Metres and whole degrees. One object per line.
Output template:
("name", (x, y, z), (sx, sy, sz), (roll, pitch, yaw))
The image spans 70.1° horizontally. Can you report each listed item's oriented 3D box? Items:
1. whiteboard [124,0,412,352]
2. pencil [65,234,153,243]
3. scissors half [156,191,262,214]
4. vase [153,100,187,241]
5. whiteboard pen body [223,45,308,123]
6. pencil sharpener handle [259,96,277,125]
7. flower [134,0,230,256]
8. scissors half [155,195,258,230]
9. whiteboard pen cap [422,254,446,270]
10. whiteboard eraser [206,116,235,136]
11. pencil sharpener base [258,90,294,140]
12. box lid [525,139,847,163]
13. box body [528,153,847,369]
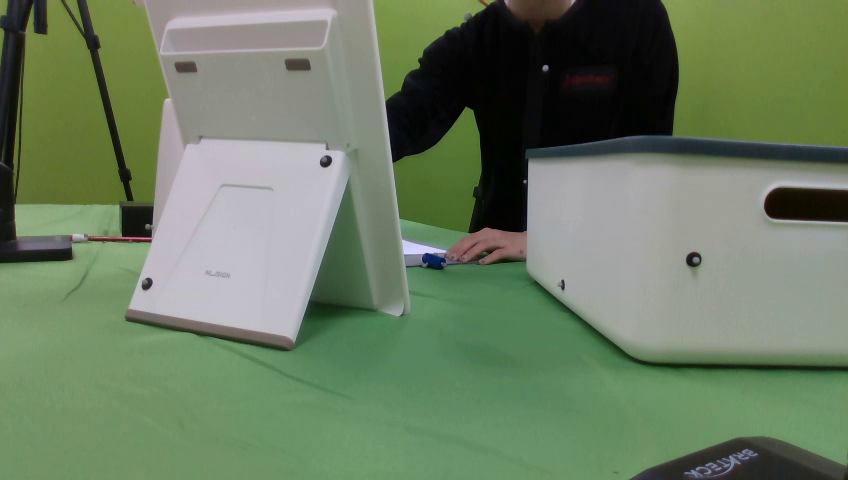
("whiteboard", (-0.151, -0.049, 0.472), (0.216, 0.305, 0.144), (6, 27, 24))
("pencil", (-0.429, 0.000, 0.910), (0.195, 0.012, 0.012), (2, 7, -19))
("scissors half", (-0.371, -0.068, 1.051), (0.176, 0.040, 0.013), (2, 25, -24))
("vase", (-0.278, -0.066, 0.736), (0.098, 0.200, 0.098), (2, 8, 0))
("whiteboard pen body", (-0.152, -0.151, 0.583), (0.017, 0.017, 0.141), (6, 44, 24))
("pencil sharpener handle", (-0.373, -0.304, 1.425), (0.036, 0.067, 0.030), (13, -1, -37))
("flower", (-0.282, -0.147, 0.713), (0.038, 0.362, 0.044), (-23, 24, -31))
("scissors half", (-0.378, -0.051, 1.058), (0.176, 0.040, 0.012), (20, 22, -31))
("whiteboard pen cap", (0.013, 0.029, 0.806), (0.018, 0.018, 0.033), (-4, 14, -42))
("whiteboard eraser", (-0.449, -0.251, 1.335), (0.056, 0.042, 0.112), (1, 7, -22))
("pencil sharpener base", (-0.341, -0.285, 1.388), (0.062, 0.107, 0.076), (-3, 9, -36))
("box lid", (0.261, -0.078, 0.580), (0.264, 0.015, 0.371), (2, 7, -4))
("box body", (0.258, -0.005, 0.591), (0.254, 0.160, 0.363), (2, 7, -4))
